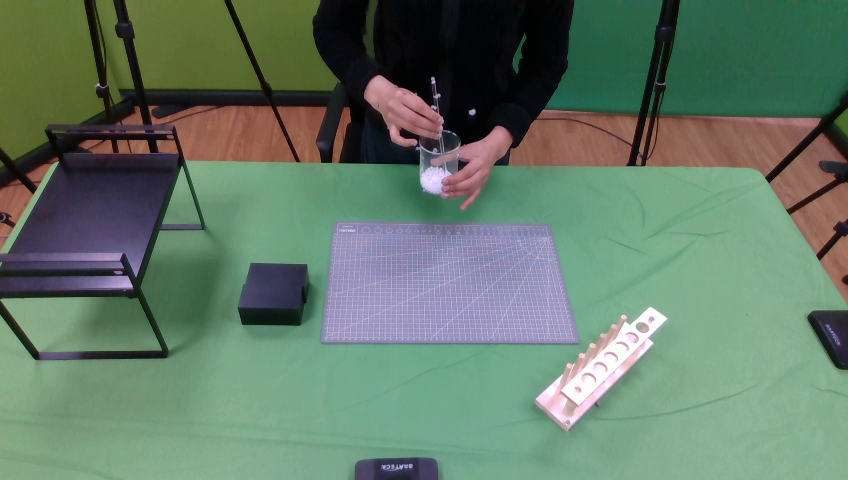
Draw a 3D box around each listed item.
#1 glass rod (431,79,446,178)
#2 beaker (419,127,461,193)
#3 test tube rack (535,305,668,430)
[{"bbox_3d":[0.027,-0.188,1.050,0.008,0.201,0.008,-5,43,5],"label":"glass rod"},{"bbox_3d":[0.027,-0.143,1.093,0.074,0.101,0.083,2,45,1],"label":"beaker"},{"bbox_3d":[0.290,0.193,0.984,0.242,0.085,0.066,-32,57,-30],"label":"test tube rack"}]
